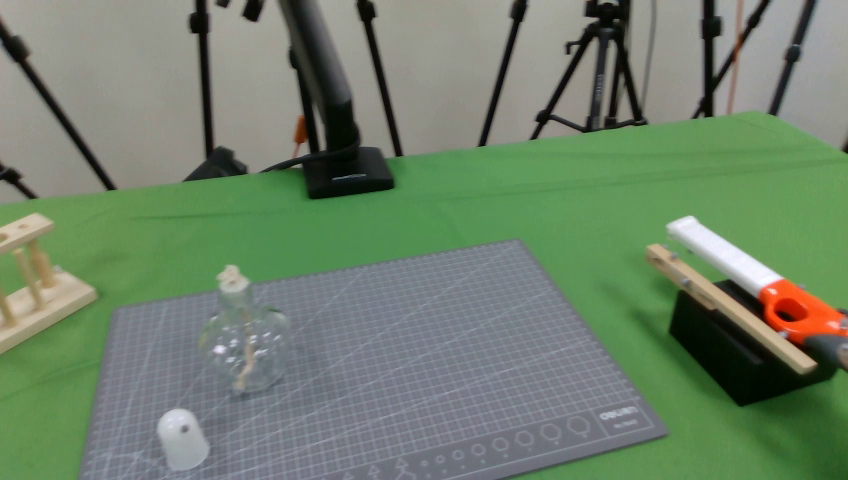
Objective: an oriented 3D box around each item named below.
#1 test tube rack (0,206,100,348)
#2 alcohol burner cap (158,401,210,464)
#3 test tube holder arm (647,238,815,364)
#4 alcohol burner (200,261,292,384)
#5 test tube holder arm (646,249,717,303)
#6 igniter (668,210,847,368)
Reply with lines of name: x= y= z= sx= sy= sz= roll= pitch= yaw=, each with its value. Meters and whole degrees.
test tube rack: x=-0.435 y=0.065 z=0.546 sx=0.066 sy=0.086 sz=0.242 roll=21 pitch=39 yaw=28
alcohol burner cap: x=-0.185 y=0.143 z=0.462 sx=0.034 sy=0.048 sz=0.033 roll=1 pitch=34 yaw=0
test tube holder arm: x=0.259 y=0.047 z=0.530 sx=0.015 sy=0.013 sz=0.176 roll=-19 pitch=36 yaw=-14
alcohol burner: x=-0.153 y=0.065 z=0.513 sx=0.078 sy=0.120 sz=0.077 roll=1 pitch=35 yaw=0
test tube holder arm: x=0.242 y=0.030 z=0.568 sx=0.015 sy=0.010 sz=0.087 roll=-19 pitch=35 yaw=-14
igniter: x=0.312 y=0.045 z=0.532 sx=0.057 sy=0.025 sz=0.273 roll=-21 pitch=34 yaw=-7
